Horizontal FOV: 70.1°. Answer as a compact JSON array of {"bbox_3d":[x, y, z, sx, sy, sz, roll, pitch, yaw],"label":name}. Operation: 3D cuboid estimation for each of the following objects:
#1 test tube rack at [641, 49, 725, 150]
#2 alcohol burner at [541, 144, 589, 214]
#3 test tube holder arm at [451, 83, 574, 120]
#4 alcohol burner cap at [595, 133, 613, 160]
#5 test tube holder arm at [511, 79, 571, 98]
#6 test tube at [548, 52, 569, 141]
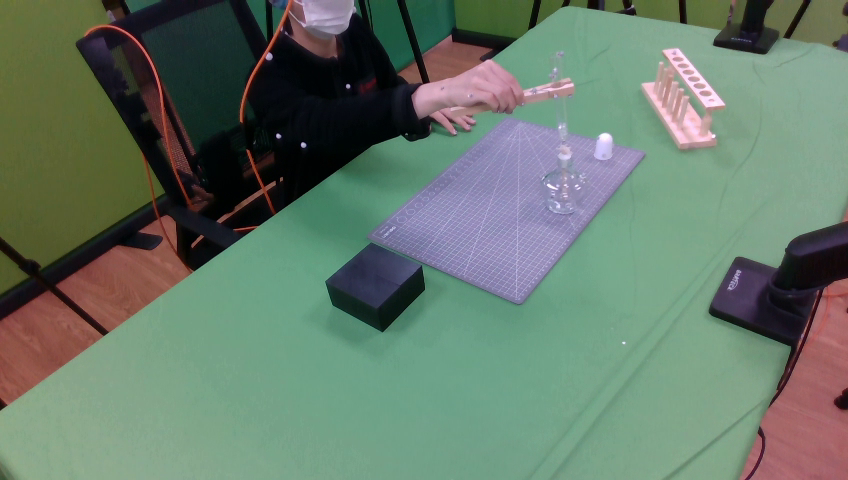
[{"bbox_3d":[0.495,-0.279,1.175,0.067,0.085,0.241,-5,41,3],"label":"test tube rack"},{"bbox_3d":[0.229,-0.102,0.983,0.078,0.119,0.077,-6,41,5],"label":"alcohol burner"},{"bbox_3d":[0.127,-0.200,0.873,0.178,0.015,0.013,-13,37,2],"label":"test tube holder arm"},{"bbox_3d":[0.330,-0.172,1.104,0.034,0.048,0.033,-5,40,5],"label":"alcohol burner cap"},{"bbox_3d":[0.170,-0.214,0.877,0.088,0.015,0.010,-17,38,-3],"label":"test tube holder arm"},{"bbox_3d":[0.198,-0.206,0.886,0.017,0.151,0.017,-10,46,11],"label":"test tube"}]
